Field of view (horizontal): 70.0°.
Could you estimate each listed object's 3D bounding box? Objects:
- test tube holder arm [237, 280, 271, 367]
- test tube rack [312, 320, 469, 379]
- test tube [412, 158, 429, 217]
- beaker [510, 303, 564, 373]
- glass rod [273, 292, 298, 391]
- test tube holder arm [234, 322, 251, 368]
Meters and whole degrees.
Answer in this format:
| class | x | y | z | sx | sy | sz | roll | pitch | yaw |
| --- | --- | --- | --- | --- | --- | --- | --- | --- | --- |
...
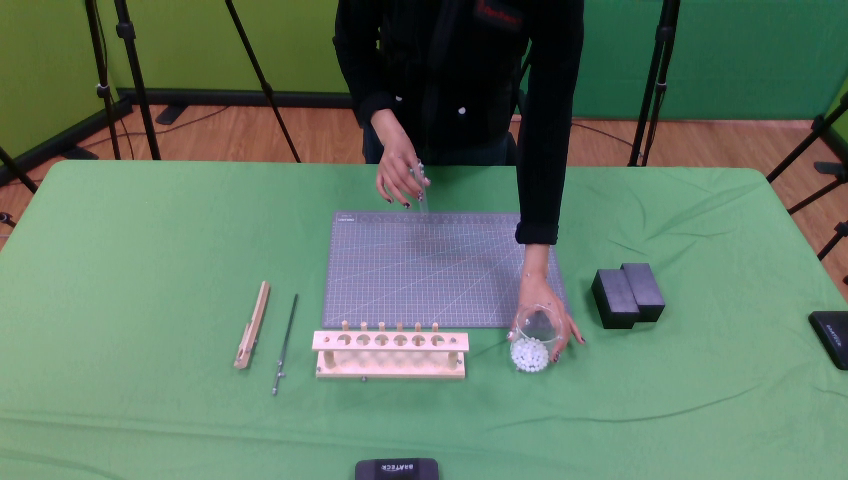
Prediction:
| class | x | y | z | sx | sy | sz | roll | pitch | yaw |
| --- | --- | --- | --- | --- | --- | --- | --- | --- | --- |
| test tube holder arm | -0.290 | 0.140 | 1.042 | 0.013 | 0.015 | 0.177 | -17 | 41 | 22 |
| test tube rack | -0.053 | 0.173 | 0.984 | 0.242 | 0.085 | 0.066 | 1 | 46 | -3 |
| test tube | -0.006 | -0.096 | 1.137 | 0.017 | 0.151 | 0.017 | -4 | 51 | 5 |
| beaker | 0.182 | 0.164 | 1.000 | 0.074 | 0.101 | 0.083 | 2 | 46 | -2 |
| glass rod | -0.233 | 0.167 | 1.030 | 0.008 | 0.008 | 0.198 | 3 | 46 | 0 |
| test tube holder arm | -0.299 | 0.173 | 1.013 | 0.010 | 0.015 | 0.087 | -17 | 41 | 23 |
